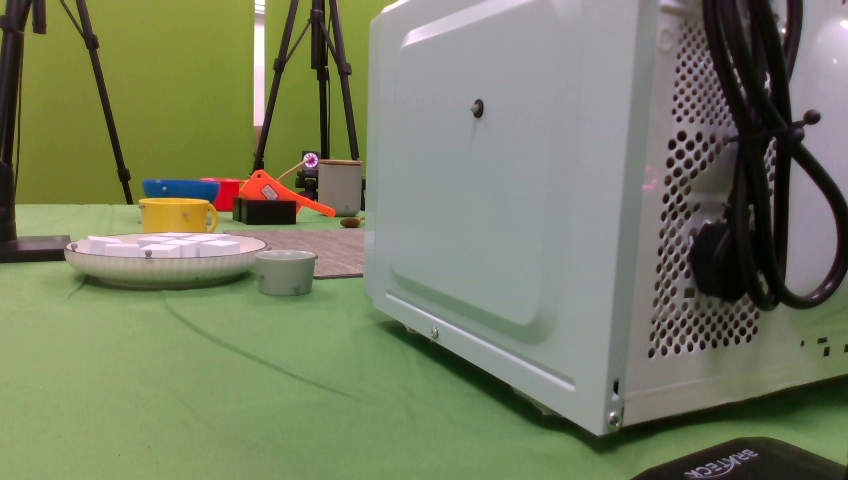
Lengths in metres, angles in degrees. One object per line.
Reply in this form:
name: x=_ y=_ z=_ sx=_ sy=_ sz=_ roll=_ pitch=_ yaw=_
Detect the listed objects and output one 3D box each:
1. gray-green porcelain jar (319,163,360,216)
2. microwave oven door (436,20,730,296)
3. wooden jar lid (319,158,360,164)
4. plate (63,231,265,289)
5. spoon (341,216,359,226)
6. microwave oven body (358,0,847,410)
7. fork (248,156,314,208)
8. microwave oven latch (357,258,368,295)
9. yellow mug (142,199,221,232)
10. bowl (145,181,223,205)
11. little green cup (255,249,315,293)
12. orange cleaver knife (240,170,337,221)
gray-green porcelain jar: x=-0.204 y=-0.126 z=1.490 sx=0.106 sy=0.126 sz=0.106 roll=2 pitch=8 yaw=0
microwave oven door: x=0.180 y=-0.077 z=0.620 sx=0.358 sy=0.243 sz=0.039 roll=-2 pitch=8 yaw=-27
wooden jar lid: x=-0.202 y=-0.189 z=1.482 sx=0.108 sy=0.020 sz=0.108 roll=2 pitch=10 yaw=0
plate: x=-0.288 y=0.021 z=0.687 sx=0.208 sy=0.039 sz=0.207 roll=2 pitch=8 yaw=0
spoon: x=-0.132 y=-0.047 z=1.305 sx=0.041 sy=0.021 sz=0.194 roll=-13 pitch=4 yaw=14
microwave oven body: x=0.210 y=-0.051 z=0.471 sx=0.444 sy=0.260 sz=0.324 roll=-1 pitch=7 yaw=-28
fork: x=-0.360 y=-0.147 z=1.523 sx=0.207 sy=0.019 sz=0.028 roll=-43 pitch=16 yaw=-6
microwave oven latch: x=-0.019 y=0.031 z=0.529 sx=0.079 sy=0.029 sz=0.030 roll=-1 pitch=7 yaw=-26
yellow mug: x=-0.372 y=-0.030 z=0.947 sx=0.099 sy=0.064 sz=0.131 roll=5 pitch=8 yaw=30
bowl: x=-0.499 y=-0.081 z=1.261 sx=0.151 sy=0.077 sz=0.151 roll=2 pitch=8 yaw=0
little green cup: x=-0.144 y=0.031 z=0.627 sx=0.061 sy=0.038 sz=0.061 roll=2 pitch=6 yaw=0
orange cleaver knife: x=-0.286 y=-0.081 z=1.299 sx=0.212 sy=0.077 sz=0.012 roll=25 pitch=-2 yaw=-31
